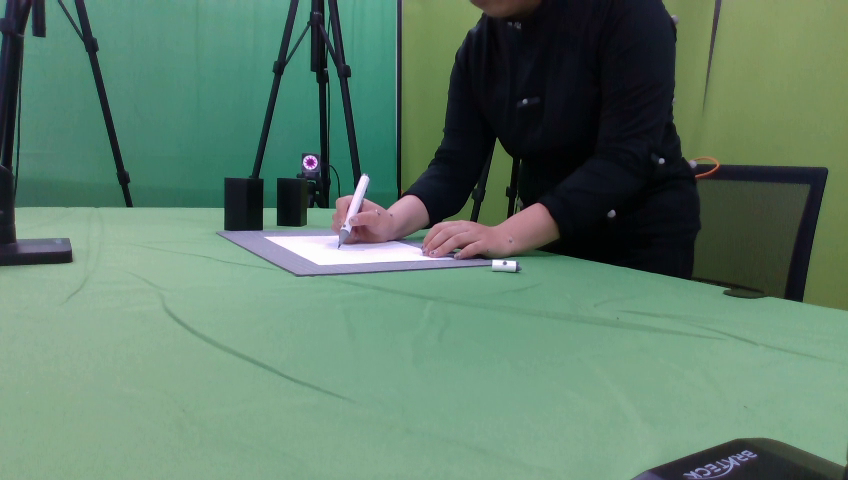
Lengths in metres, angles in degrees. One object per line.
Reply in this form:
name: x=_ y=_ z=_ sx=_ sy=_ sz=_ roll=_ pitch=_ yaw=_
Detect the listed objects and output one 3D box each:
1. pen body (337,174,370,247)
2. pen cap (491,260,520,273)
pen body: x=-0.116 y=-0.048 z=0.989 sx=0.017 sy=0.144 sz=0.017 roll=13 pitch=-31 yaw=8
pen cap: x=0.110 y=0.036 z=0.813 sx=0.038 sy=0.017 sz=0.017 roll=3 pitch=7 yaw=7
